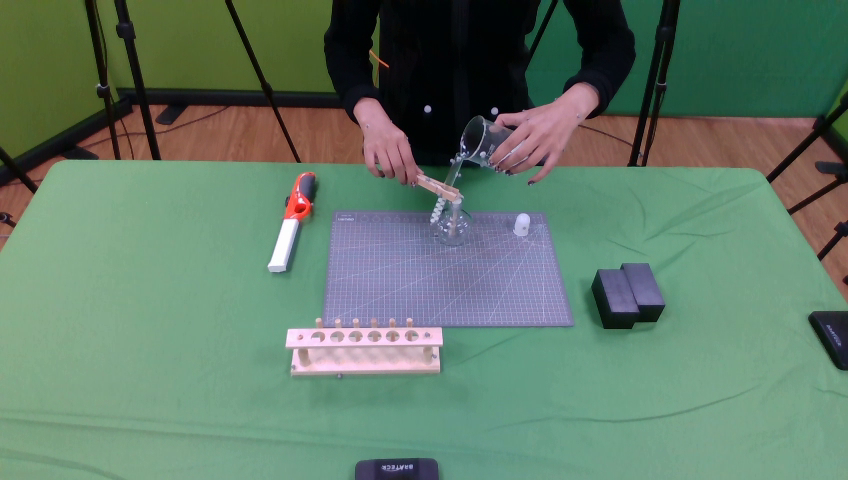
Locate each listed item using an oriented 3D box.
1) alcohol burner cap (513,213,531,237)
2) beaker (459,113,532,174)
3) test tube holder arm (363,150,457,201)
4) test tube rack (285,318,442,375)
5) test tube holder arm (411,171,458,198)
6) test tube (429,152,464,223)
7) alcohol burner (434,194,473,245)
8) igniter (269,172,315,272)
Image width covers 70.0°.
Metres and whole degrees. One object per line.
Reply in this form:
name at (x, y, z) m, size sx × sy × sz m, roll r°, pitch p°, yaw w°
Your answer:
alcohol burner cap at (0.200, -0.034, 1.227) m, size 0.034 × 0.048 × 0.033 m, roll 1°, pitch 45°, yaw -1°
beaker at (0.117, -0.151, 0.989) m, size 0.100 × 0.084 × 0.073 m, roll 16°, pitch 50°, yaw -24°
test tube holder arm at (-0.025, -0.112, 1.047) m, size 0.178 × 0.015 × 0.013 m, roll 26°, pitch 33°, yaw 6°
test tube rack at (-0.095, 0.168, 0.986) m, size 0.242 × 0.085 × 0.066 m, roll 0°, pitch 46°, yaw -4°
test tube holder arm at (0.017, -0.096, 1.049) m, size 0.088 × 0.015 × 0.010 m, roll 22°, pitch 33°, yaw 0°
test tube at (0.038, -0.087, 1.042) m, size 0.017 × 0.151 × 0.017 m, roll 14°, pitch 38°, yaw -11°
alcohol burner at (0.059, -0.046, 1.179) m, size 0.078 × 0.120 × 0.077 m, roll 1°, pitch 48°, yaw -1°
igniter at (-0.263, -0.045, 1.219) m, size 0.057 × 0.025 × 0.275 m, roll -2°, pitch 45°, yaw 8°
